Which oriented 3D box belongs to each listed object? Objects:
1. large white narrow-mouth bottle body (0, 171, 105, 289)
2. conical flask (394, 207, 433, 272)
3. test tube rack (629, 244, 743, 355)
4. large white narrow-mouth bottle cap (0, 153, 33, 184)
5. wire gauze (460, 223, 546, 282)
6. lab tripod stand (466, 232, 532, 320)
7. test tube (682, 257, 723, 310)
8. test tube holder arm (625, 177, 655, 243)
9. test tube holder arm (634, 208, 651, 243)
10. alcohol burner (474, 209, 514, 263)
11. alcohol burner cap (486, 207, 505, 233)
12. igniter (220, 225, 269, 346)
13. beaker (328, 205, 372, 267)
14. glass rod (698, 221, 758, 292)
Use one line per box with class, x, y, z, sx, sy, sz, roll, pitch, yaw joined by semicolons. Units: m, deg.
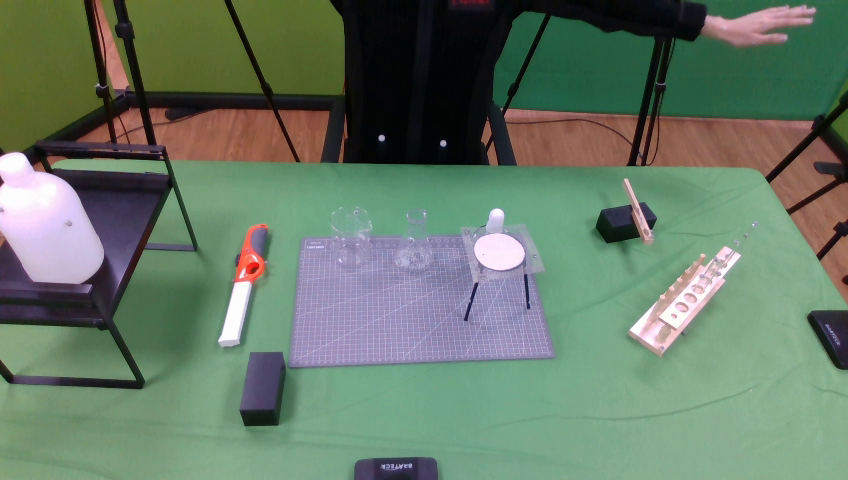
large white narrow-mouth bottle body;-0.513;-0.029;0.818;0.102;0.195;0.101;2;46;-2
conical flask;-0.017;-0.005;1.125;0.075;0.122;0.075;2;46;-2
test tube rack;0.474;0.095;1.091;0.242;0.085;0.066;-34;56;-31
large white narrow-mouth bottle cap;-0.510;-0.089;0.754;0.038;0.024;0.037;2;46;-2
wire gauze;0.131;0.016;1.015;0.121;0.011;0.124;-5;45;-8
lab tripod stand;0.125;0.059;1.065;0.148;0.132;0.147;1;45;0
test tube;0.475;0.080;1.037;0.017;0.151;0.017;1;50;-1
test tube holder arm;0.433;-0.063;1.220;0.013;0.015;0.177;1;47;-3
test tube holder arm;0.428;-0.030;1.189;0.010;0.015;0.087;1;47;-2
alcohol burner;0.134;-0.013;1.150;0.078;0.120;0.077;0;47;0
alcohol burner cap;0.135;-0.039;1.125;0.034;0.048;0.033;4;41;-4
igniter;-0.323;0.072;1.100;0.057;0.025;0.275;-6;46;5
beaker;-0.135;-0.004;1.132;0.084;0.101;0.073;18;48;12
glass rod;0.527;0.035;1.059;0.008;0.200;0.008;5;49;-6
